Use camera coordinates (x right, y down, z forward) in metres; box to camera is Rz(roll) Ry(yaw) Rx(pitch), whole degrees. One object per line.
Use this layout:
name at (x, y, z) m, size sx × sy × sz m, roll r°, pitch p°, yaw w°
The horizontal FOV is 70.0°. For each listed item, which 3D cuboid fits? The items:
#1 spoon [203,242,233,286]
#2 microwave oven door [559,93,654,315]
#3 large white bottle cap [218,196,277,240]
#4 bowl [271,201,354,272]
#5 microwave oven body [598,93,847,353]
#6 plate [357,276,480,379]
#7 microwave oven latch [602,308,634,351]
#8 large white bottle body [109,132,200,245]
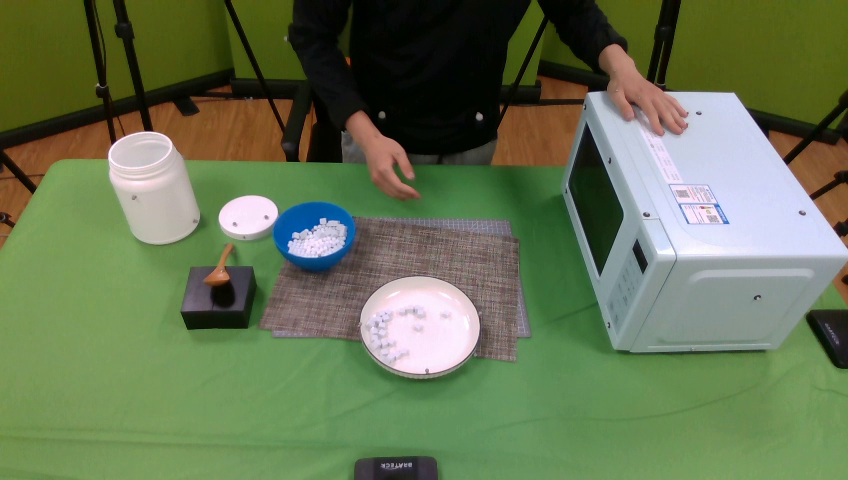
spoon at (-0.360, 0.039, 1.087) m, size 0.041 × 0.022 × 0.192 m, roll -6°, pitch 24°, yaw -7°
microwave oven door at (0.327, -0.074, 1.123) m, size 0.039 × 0.245 × 0.353 m, roll -1°, pitch 46°, yaw -5°
large white bottle cap at (-0.354, -0.045, 1.220) m, size 0.115 × 0.018 × 0.114 m, roll 1°, pitch 45°, yaw -1°
bowl at (-0.205, 0.006, 1.135) m, size 0.151 × 0.077 × 0.150 m, roll 3°, pitch 46°, yaw -3°
microwave oven body at (0.475, -0.041, 1.109) m, size 0.326 × 0.261 × 0.438 m, roll -1°, pitch 45°, yaw -4°
plate at (-0.009, 0.151, 1.038) m, size 0.209 × 0.038 × 0.208 m, roll 2°, pitch 47°, yaw -2°
microwave oven latch at (0.332, 0.153, 1.044) m, size 0.030 × 0.029 × 0.078 m, roll -1°, pitch 45°, yaw -4°
large white bottle body at (-0.506, -0.097, 1.141) m, size 0.131 × 0.185 × 0.130 m, roll 2°, pitch 46°, yaw -2°
